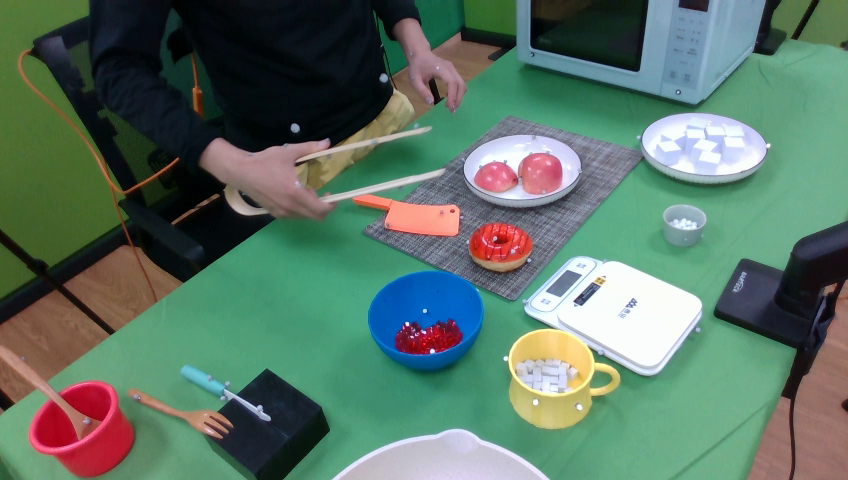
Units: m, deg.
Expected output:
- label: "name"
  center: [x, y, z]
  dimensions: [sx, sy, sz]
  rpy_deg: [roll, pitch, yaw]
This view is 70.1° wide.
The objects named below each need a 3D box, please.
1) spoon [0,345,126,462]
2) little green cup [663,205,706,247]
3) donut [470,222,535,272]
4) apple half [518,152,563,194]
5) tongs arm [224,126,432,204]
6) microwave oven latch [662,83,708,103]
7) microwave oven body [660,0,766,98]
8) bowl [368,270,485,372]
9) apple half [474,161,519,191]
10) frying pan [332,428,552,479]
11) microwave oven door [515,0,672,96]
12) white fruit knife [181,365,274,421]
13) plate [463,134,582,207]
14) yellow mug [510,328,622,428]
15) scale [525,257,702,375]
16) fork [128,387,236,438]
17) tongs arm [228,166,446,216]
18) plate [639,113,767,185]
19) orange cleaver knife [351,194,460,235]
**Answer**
- label: "spoon"
  center: [-0.434, 0.192, 0.720]
  dimensions: [0.194, 0.021, 0.042]
  rpy_deg: [47, 53, -7]
- label: "little green cup"
  center: [0.396, -0.020, 0.926]
  dimensions: [0.061, 0.039, 0.061]
  rpy_deg: [-4, 40, 4]
- label: "donut"
  center: [0.119, 0.009, 0.923]
  dimensions: [0.099, 0.048, 0.098]
  rpy_deg: [-4, 38, 3]
- label: "apple half"
  center: [0.203, -0.123, 1.047]
  dimensions: [0.075, 0.053, 0.080]
  rpy_deg: [-2, 41, 1]
- label: "tongs arm"
  center: [-0.150, -0.100, 0.850]
  dimensions: [0.382, 0.051, 0.026]
  rpy_deg: [-6, 24, 32]
- label: "microwave oven latch"
  center: [0.517, -0.296, 1.204]
  dimensions: [0.078, 0.029, 0.030]
  rpy_deg: [28, 52, 35]
- label: "microwave oven body"
  center: [0.472, -0.513, 1.317]
  dimensions: [0.438, 0.261, 0.327]
  rpy_deg: [26, 51, 34]
- label: "bowl"
  center: [0.007, 0.118, 0.791]
  dimensions: [0.151, 0.077, 0.150]
  rpy_deg: [-4, 40, 4]
- label: "apple half"
  center: [0.130, -0.119, 1.067]
  dimensions: [0.081, 0.033, 0.081]
  rpy_deg: [-4, 37, 3]
- label: "frying pan"
  center: [-0.089, 0.306, 0.564]
  dimensions: [0.487, 0.103, 0.306]
  rpy_deg: [10, 41, 7]
- label: "microwave oven door"
  center: [0.343, -0.454, 1.259]
  dimensions: [0.353, 0.245, 0.039]
  rpy_deg: [26, 51, 33]
- label: "white fruit knife"
  center: [-0.245, 0.187, 0.747]
  dimensions: [0.205, 0.027, 0.016]
  rpy_deg: [9, 41, 40]
- label: "plate"
  center: [0.173, -0.119, 1.070]
  dimensions: [0.209, 0.038, 0.208]
  rpy_deg: [-4, 40, 4]
- label: "yellow mug"
  center: [0.168, 0.164, 0.722]
  dimensions: [0.130, 0.064, 0.099]
  rpy_deg: [0, 40, 8]
- label: "scale"
  center: [0.254, 0.091, 0.821]
  dimensions: [0.199, 0.032, 0.149]
  rpy_deg: [28, 51, 35]
- label: "fork"
  center: [-0.305, 0.207, 0.744]
  dimensions: [0.206, 0.019, 0.028]
  rpy_deg: [3, 42, 36]
- label: "tongs arm"
  center: [-0.138, -0.069, 0.861]
  dimensions: [0.385, 0.028, 0.028]
  rpy_deg: [-7, 27, 32]
- label: "plate"
  center: [0.489, -0.157, 1.074]
  dimensions: [0.207, 0.039, 0.206]
  rpy_deg: [-4, 40, 4]
- label: "orange cleaver knife"
  center: [-0.036, -0.045, 1.028]
  dimensions: [0.210, 0.012, 0.077]
  rpy_deg: [11, 50, 17]
